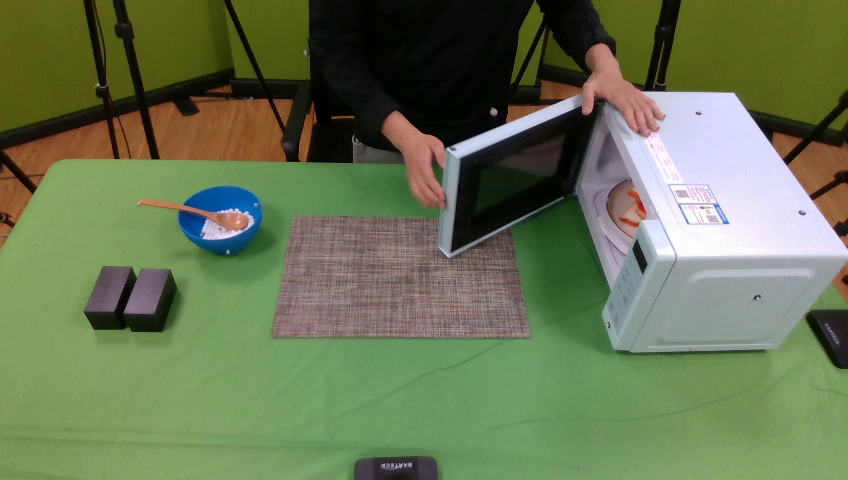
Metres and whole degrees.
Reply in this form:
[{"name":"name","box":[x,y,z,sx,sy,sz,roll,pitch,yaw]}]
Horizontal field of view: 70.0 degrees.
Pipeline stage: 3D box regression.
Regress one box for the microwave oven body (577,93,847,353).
[{"name":"microwave oven body","box":[0.475,-0.041,1.109,0.326,0.261,0.438,-1,45,-4]}]

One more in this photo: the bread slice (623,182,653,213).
[{"name":"bread slice","box":[0.458,-0.078,1.138,0.131,0.019,0.105,35,51,29]}]

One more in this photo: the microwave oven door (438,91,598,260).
[{"name":"microwave oven door","box":[0.183,-0.127,1.164,0.356,0.245,0.039,-27,53,-27]}]

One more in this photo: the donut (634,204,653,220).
[{"name":"donut","box":[0.453,-0.062,1.159,0.099,0.048,0.098,-1,46,1]}]

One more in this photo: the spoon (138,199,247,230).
[{"name":"spoon","box":[-0.431,-0.053,1.136,0.194,0.022,0.041,15,48,-20]}]

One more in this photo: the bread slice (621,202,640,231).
[{"name":"bread slice","box":[0.455,-0.038,1.178,0.134,0.018,0.107,19,55,31]}]

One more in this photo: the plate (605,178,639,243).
[{"name":"plate","box":[0.455,-0.042,1.182,0.208,0.039,0.206,2,46,-2]}]

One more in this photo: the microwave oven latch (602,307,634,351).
[{"name":"microwave oven latch","box":[0.332,0.153,1.044,0.030,0.029,0.078,0,45,-4]}]

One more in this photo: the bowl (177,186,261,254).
[{"name":"bowl","box":[-0.383,-0.026,1.158,0.151,0.077,0.150,2,46,-2]}]
